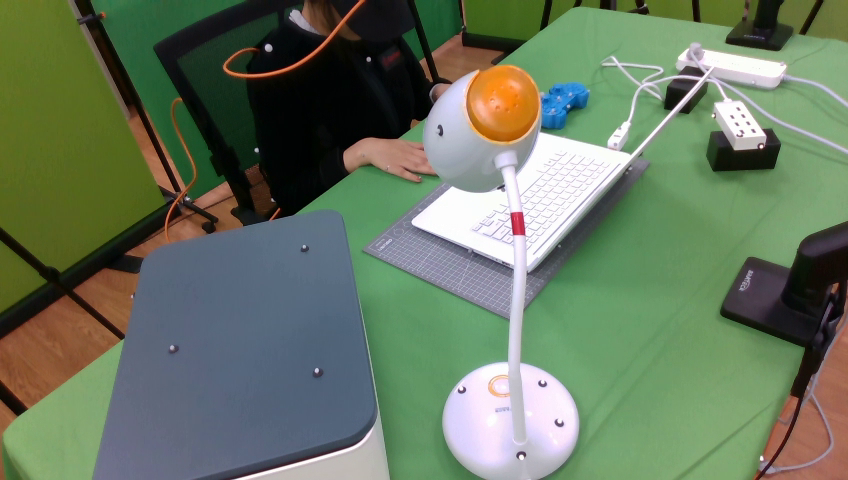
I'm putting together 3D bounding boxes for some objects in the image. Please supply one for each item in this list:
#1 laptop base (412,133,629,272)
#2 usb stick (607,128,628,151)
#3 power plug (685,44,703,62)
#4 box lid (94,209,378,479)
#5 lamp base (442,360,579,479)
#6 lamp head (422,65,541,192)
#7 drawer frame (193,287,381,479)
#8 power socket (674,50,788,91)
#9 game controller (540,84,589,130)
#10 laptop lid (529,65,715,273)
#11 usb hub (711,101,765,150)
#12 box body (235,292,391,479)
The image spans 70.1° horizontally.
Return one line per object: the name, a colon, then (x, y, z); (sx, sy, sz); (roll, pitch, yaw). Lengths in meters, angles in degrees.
laptop base: (0.176, -0.084, 1.055); (0.233, 0.023, 0.355); (21, 48, 36)
usb stick: (0.353, -0.178, 1.110); (0.021, 0.027, 0.059); (21, 57, 30)
power plug: (0.568, -0.390, 1.294); (0.073, 0.053, 0.035); (-33, 46, -22)
box lid: (-0.202, 0.094, 0.680); (0.264, 0.015, 0.368); (-13, 39, -5)
lamp base: (0.094, 0.158, 0.657); (0.161, 0.181, 0.178); (-14, 42, -5)
lamp head: (0.060, -0.106, 0.560); (0.113, 0.112, 0.122); (-16, 0, -8)
drawer frame: (-0.172, 0.176, 0.755); (0.202, 0.083, 0.212); (-14, 42, -7)
power socket: (0.646, -0.363, 1.284); (0.225, 0.033, 0.072); (25, 52, 34)
game controller: (0.273, -0.282, 1.252); (0.096, 0.052, 0.155); (26, 52, 30)
laptop lid: (0.294, -0.104, 0.895); (0.013, 0.241, 0.358); (42, 56, 11)
usb hub: (0.537, -0.198, 1.038); (0.049, 0.025, 0.124); (-4, 39, 8)
box body: (-0.190, 0.161, 0.723); (0.255, 0.161, 0.361); (-13, 40, -5)
